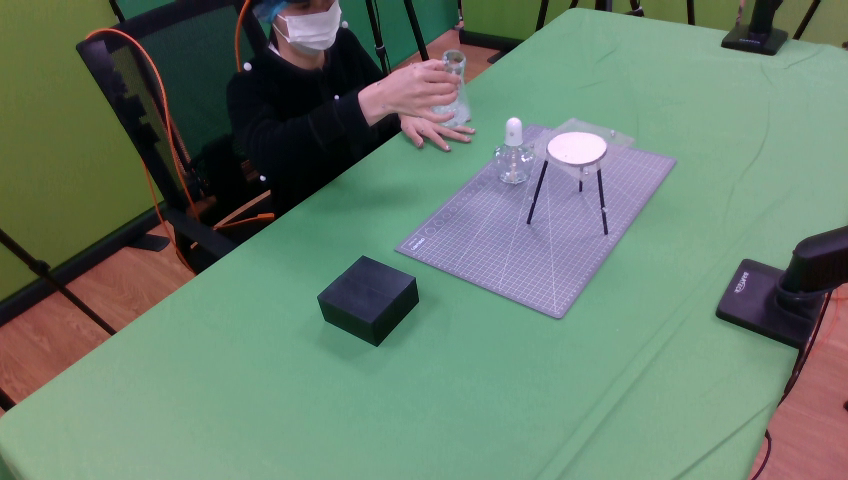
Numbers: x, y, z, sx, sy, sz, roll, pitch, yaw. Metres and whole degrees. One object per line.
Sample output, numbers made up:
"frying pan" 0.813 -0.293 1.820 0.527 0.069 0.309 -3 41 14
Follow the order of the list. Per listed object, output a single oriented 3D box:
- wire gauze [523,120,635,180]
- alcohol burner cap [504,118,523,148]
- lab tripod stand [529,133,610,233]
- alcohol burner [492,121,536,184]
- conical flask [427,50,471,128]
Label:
"wire gauze" 0.233 -0.143 0.913 0.122 0.011 0.124 -32 45 -25
"alcohol burner cap" 0.154 -0.186 1.042 0.034 0.048 0.033 -4 33 3
"lab tripod stand" 0.236 -0.089 0.953 0.148 0.132 0.147 -5 42 5
"alcohol burner" 0.159 -0.158 1.064 0.078 0.119 0.077 -3 41 3
"conical flask" 0.044 -0.246 0.977 0.075 0.122 0.075 1 57 -1
